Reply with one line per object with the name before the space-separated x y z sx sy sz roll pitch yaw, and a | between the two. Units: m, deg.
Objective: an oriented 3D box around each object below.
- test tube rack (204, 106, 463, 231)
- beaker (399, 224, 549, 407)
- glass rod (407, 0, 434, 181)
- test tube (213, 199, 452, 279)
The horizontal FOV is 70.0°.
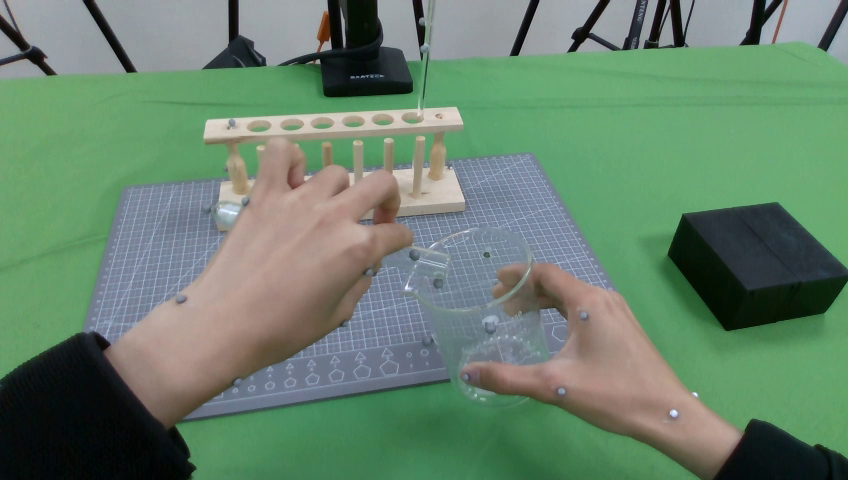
test tube rack | -0.083 -0.072 0.598 0.243 0.086 0.066 -5 42 -9
beaker | 0.037 0.052 0.386 0.084 0.101 0.073 -14 37 7
glass rod | -0.005 -0.137 0.574 0.008 0.201 0.008 5 43 -4
test tube | -0.056 -0.002 0.365 0.150 0.017 0.017 14 42 6
